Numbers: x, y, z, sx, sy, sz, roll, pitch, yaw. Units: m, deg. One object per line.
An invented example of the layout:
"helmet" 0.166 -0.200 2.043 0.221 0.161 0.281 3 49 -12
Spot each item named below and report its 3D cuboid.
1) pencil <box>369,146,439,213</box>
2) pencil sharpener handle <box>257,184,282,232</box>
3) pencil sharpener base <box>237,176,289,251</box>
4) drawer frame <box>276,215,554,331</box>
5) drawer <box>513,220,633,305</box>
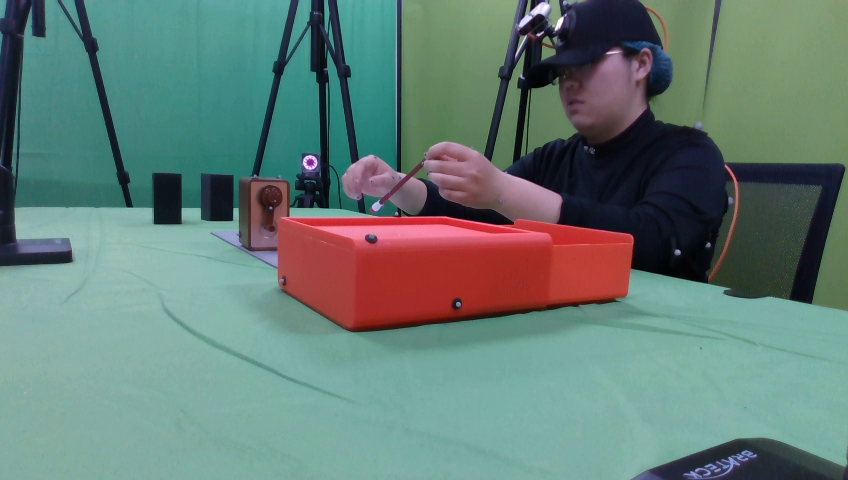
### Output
"pencil" -0.033 -0.091 0.932 0.012 0.012 0.193 -3 -25 -40
"pencil sharpener handle" -0.219 -0.046 0.865 0.036 0.067 0.030 6 5 -29
"pencil sharpener base" -0.243 -0.040 0.912 0.061 0.107 0.076 -1 8 -28
"drawer frame" -0.015 0.022 0.610 0.215 0.082 0.200 -2 9 -32
"drawer" 0.085 0.021 0.673 0.213 0.073 0.193 -2 9 -32
